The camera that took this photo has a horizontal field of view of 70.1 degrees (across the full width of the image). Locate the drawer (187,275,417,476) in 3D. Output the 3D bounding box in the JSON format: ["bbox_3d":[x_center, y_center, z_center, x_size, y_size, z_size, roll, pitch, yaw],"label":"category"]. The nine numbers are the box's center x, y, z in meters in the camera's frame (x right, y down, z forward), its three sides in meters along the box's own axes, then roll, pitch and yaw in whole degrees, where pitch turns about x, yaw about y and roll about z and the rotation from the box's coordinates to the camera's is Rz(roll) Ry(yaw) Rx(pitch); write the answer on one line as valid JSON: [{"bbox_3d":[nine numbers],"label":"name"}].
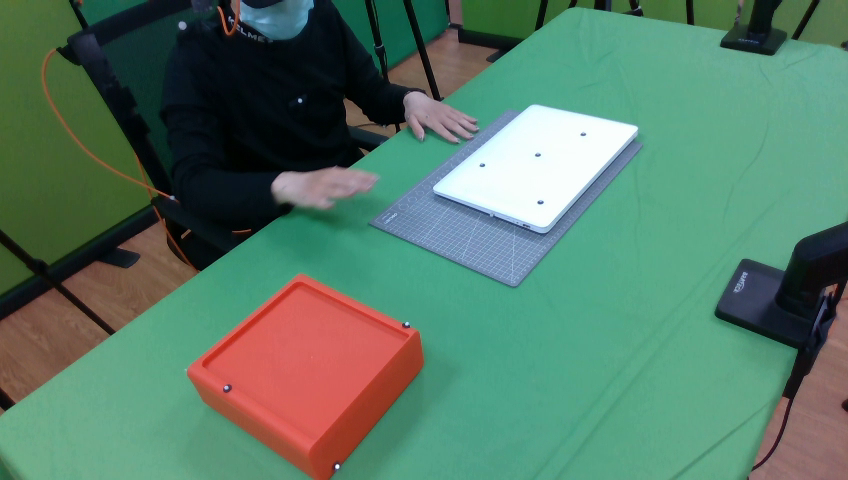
[{"bbox_3d":[-0.148,0.159,0.761,0.210,0.073,0.195,22,47,29],"label":"drawer"}]

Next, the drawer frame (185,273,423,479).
[{"bbox_3d":[-0.145,0.158,0.760,0.212,0.083,0.202,22,47,28],"label":"drawer frame"}]

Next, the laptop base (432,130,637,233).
[{"bbox_3d":[0.210,-0.142,1.111,0.233,0.023,0.355,21,47,34],"label":"laptop base"}]

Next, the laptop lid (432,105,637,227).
[{"bbox_3d":[0.207,-0.152,1.105,0.239,0.013,0.358,23,49,34],"label":"laptop lid"}]

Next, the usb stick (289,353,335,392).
[{"bbox_3d":[-0.146,0.172,0.774,0.059,0.027,0.021,-29,44,-24],"label":"usb stick"}]
